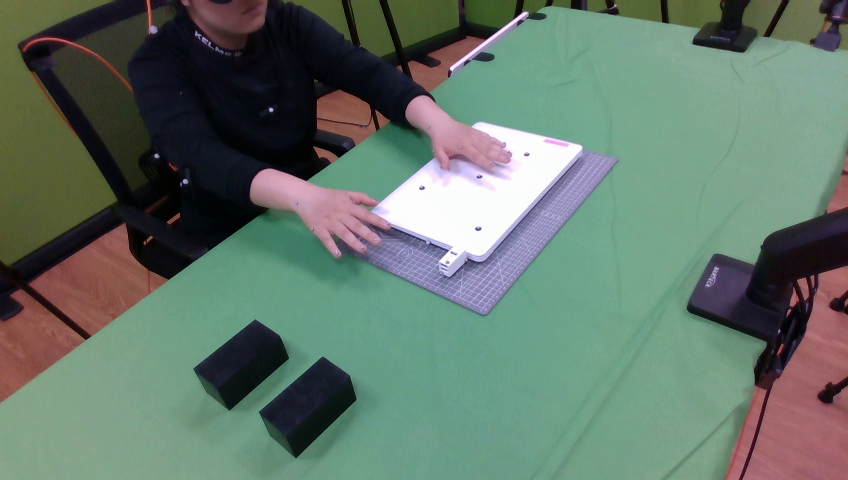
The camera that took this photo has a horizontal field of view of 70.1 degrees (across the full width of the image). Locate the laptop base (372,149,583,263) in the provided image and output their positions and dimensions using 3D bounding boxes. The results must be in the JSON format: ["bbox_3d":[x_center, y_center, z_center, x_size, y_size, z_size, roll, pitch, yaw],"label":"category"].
[{"bbox_3d":[0.101,-0.097,1.071,0.233,0.023,0.355,20,47,32],"label":"laptop base"}]

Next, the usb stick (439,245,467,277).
[{"bbox_3d":[0.048,0.028,0.913,0.021,0.027,0.059,24,47,31],"label":"usb stick"}]

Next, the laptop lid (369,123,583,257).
[{"bbox_3d":[0.098,-0.106,1.065,0.240,0.013,0.358,22,48,33],"label":"laptop lid"}]
